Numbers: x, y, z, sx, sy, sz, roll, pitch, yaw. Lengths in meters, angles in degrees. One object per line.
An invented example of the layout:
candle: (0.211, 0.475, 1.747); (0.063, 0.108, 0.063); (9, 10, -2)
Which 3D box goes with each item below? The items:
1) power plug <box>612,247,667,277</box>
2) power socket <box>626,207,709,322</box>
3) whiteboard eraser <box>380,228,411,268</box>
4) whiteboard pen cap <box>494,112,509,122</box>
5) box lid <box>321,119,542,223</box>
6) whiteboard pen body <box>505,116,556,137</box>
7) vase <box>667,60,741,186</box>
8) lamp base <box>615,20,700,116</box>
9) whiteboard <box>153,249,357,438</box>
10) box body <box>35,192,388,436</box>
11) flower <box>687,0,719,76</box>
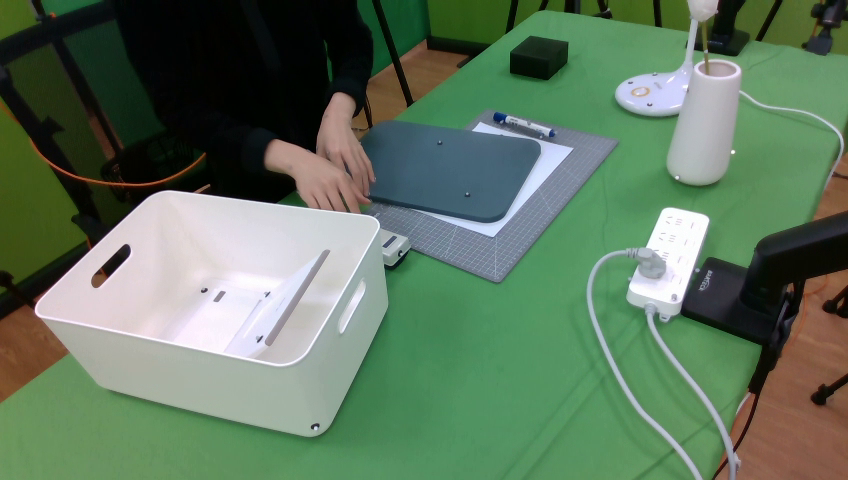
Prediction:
power plug: (0.306, 0.031, 0.852); (0.072, 0.053, 0.035); (21, 48, 38)
power socket: (0.360, 0.026, 0.886); (0.072, 0.033, 0.227); (17, 46, 27)
whiteboard eraser: (-0.081, 0.007, 0.964); (0.112, 0.042, 0.056); (19, 49, 27)
whiteboard pen cap: (0.161, -0.253, 1.248); (0.033, 0.018, 0.018); (27, 51, 36)
box lid: (0.017, -0.141, 1.145); (0.369, 0.015, 0.263); (12, 44, 22)
whiteboard pen body: (0.203, -0.232, 1.213); (0.139, 0.017, 0.017); (27, 51, 36)
vase: (0.463, -0.189, 0.994); (0.098, 0.201, 0.097); (-4, 40, 4)
lamp base: (0.484, -0.364, 1.211); (0.180, 0.181, 0.159); (-15, 41, -14)
whiteboard: (-0.242, 0.100, 0.799); (0.304, 0.144, 0.217); (8, 43, 15)
box body: (-0.251, 0.088, 0.800); (0.362, 0.161, 0.254); (7, 42, 16)
flower: (0.436, -0.242, 0.934); (0.038, 0.364, 0.043); (-24, 49, 9)
